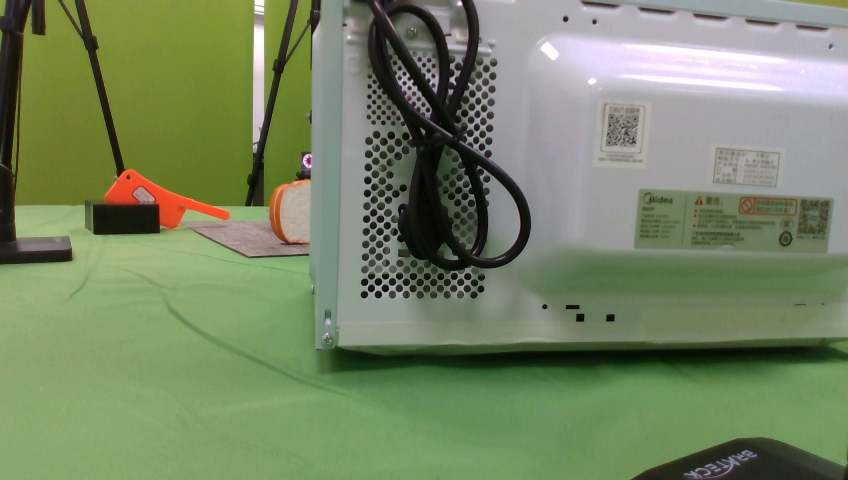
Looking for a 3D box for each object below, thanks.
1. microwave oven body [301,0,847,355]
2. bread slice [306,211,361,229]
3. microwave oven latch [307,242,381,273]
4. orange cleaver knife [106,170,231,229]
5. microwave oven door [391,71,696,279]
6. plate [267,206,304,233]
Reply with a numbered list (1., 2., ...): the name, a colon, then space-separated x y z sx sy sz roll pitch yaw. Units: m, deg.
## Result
1. microwave oven body: 0.120 -0.053 0.535 0.443 0.260 0.325 2 7 -11
2. bread slice: -0.173 -0.041 1.173 0.107 0.018 0.134 -2 10 -8
3. microwave oven latch: -0.086 0.019 0.656 0.079 0.029 0.030 2 7 -10
4. orange cleaver knife: -0.458 -0.060 1.097 0.212 0.077 0.012 23 -4 -38
5. microwave oven door: 0.137 -0.086 0.751 0.355 0.243 0.039 4 6 12
6. plate: -0.197 -0.039 1.175 0.208 0.039 0.207 2 7 0
